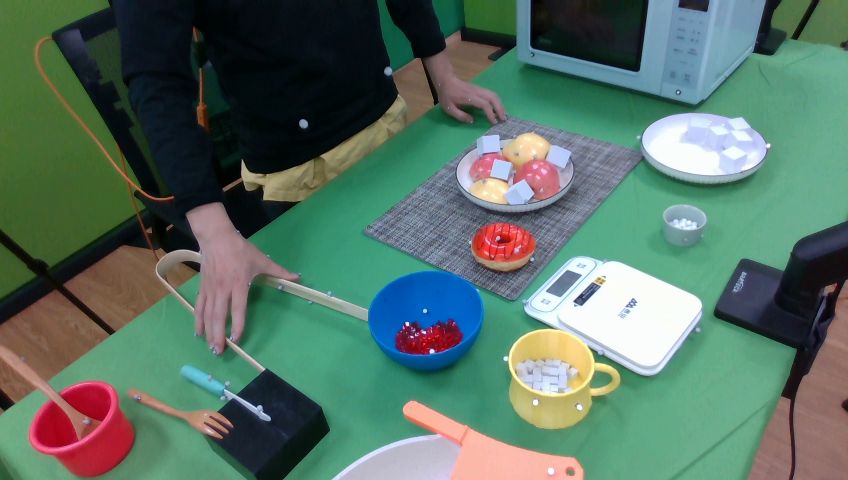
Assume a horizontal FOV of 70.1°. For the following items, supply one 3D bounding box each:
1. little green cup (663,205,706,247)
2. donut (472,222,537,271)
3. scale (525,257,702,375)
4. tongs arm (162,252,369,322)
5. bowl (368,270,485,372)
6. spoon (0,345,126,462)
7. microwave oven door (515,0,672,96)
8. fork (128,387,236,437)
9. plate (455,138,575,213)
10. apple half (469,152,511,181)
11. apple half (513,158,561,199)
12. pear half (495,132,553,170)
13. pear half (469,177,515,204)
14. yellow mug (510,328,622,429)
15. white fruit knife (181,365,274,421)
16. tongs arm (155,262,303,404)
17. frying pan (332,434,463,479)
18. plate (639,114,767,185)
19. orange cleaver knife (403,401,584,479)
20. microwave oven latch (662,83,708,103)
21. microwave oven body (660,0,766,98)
[{"bbox_3d":[0.396,-0.020,0.926,0.061,0.039,0.061,-4,40,4],"label":"little green cup"},{"bbox_3d":[0.123,0.008,0.923,0.099,0.048,0.098,-3,38,3],"label":"donut"},{"bbox_3d":[0.254,0.091,0.821,0.199,0.032,0.149,28,51,35],"label":"scale"},{"bbox_3d":[-0.248,0.075,0.915,0.382,0.027,0.051,16,51,27],"label":"tongs arm"},{"bbox_3d":[0.007,0.118,0.791,0.151,0.077,0.150,-5,40,4],"label":"bowl"},{"bbox_3d":[-0.434,0.192,0.720,0.194,0.021,0.042,47,54,-7],"label":"spoon"},{"bbox_3d":[0.343,-0.454,1.259,0.353,0.245,0.039,26,51,33],"label":"microwave oven door"},{"bbox_3d":[-0.305,0.207,0.744,0.206,0.019,0.028,3,41,36],"label":"fork"},{"bbox_3d":[0.159,-0.111,1.063,0.209,0.038,0.208,-4,40,4],"label":"plate"},{"bbox_3d":[0.119,-0.138,1.087,0.081,0.033,0.081,-1,46,1],"label":"apple half"},{"bbox_3d":[0.193,-0.111,1.031,0.080,0.053,0.075,11,41,26],"label":"apple half"},{"bbox_3d":[0.174,-0.167,1.094,0.109,0.056,0.076,15,53,30],"label":"pear half"},{"bbox_3d":[0.115,-0.090,1.036,0.087,0.031,0.071,29,39,32],"label":"pear half"},{"bbox_3d":[0.168,0.164,0.721,0.130,0.064,0.099,0,40,8],"label":"yellow mug"},{"bbox_3d":[-0.245,0.187,0.747,0.205,0.027,0.016,9,42,41],"label":"white fruit knife"},{"bbox_3d":[-0.294,0.125,0.871,0.384,0.028,0.028,28,61,35],"label":"tongs arm"},{"bbox_3d":[-0.089,0.306,0.564,0.487,0.103,0.306,10,41,7],"label":"frying pan"},{"bbox_3d":[0.489,-0.157,1.074,0.207,0.039,0.206,-4,40,4],"label":"plate"},{"bbox_3d":[0.062,0.222,0.609,0.210,0.012,0.077,15,49,25],"label":"orange cleaver knife"},{"bbox_3d":[0.518,-0.296,1.204,0.078,0.029,0.030,27,52,35],"label":"microwave oven latch"},{"bbox_3d":[0.472,-0.513,1.317,0.438,0.261,0.327,26,51,34],"label":"microwave oven body"}]
